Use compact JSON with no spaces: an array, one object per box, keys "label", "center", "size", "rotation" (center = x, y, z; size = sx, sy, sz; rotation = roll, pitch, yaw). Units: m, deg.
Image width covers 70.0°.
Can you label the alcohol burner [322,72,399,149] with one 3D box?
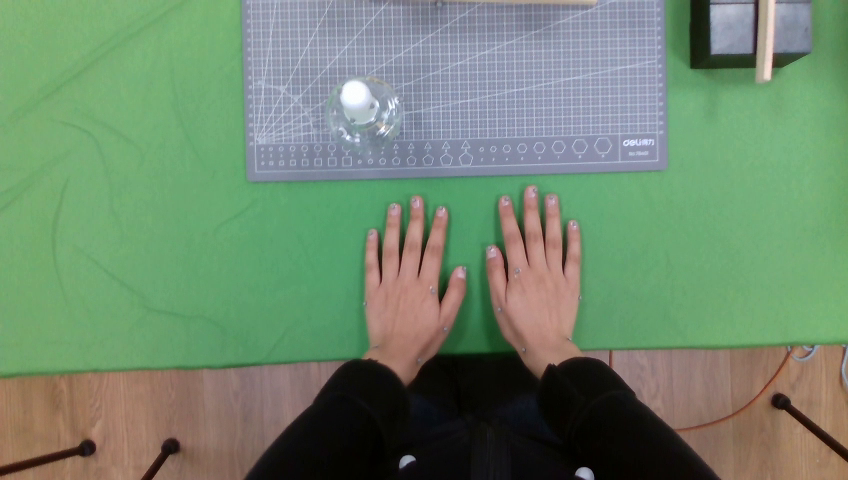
[{"label":"alcohol burner","center":[-0.064,-0.131,0.594],"size":[0.078,0.119,0.078],"rotation":[0,89,-1]}]

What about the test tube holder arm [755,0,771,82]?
[{"label":"test tube holder arm","center":[0.331,-0.246,0.593],"size":[0.013,0.015,0.178],"rotation":[-2,91,-7]}]

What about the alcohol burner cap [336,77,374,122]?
[{"label":"alcohol burner cap","center":[-0.065,-0.131,0.559],"size":[0.034,0.048,0.034],"rotation":[0,84,3]}]

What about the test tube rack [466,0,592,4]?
[{"label":"test tube rack","center":[0.057,-0.288,0.605],"size":[0.242,0.085,0.066],"rotation":[2,91,0]}]
